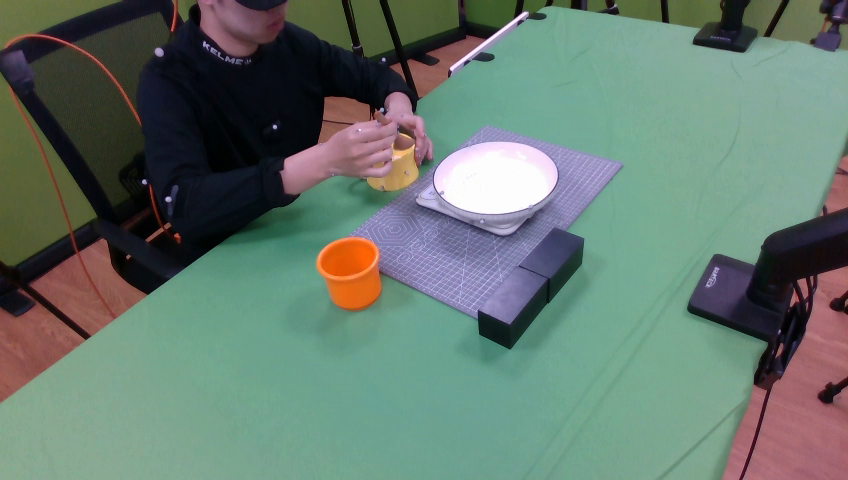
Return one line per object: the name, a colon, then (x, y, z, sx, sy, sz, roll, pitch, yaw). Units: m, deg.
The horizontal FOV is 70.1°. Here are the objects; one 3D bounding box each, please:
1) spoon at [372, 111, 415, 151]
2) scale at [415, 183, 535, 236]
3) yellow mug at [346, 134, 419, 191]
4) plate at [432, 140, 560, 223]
spoon: (-0.053, -0.175, 0.977, 0.041, 0.194, 0.021, -20, 77, 10)
scale: (0.099, -0.080, 1.036, 0.199, 0.032, 0.149, 23, 48, 31)
yellow mug: (-0.079, -0.142, 1.115, 0.131, 0.064, 0.099, -7, 39, 2)
plate: (0.118, -0.094, 0.999, 0.209, 0.038, 0.208, -4, 41, 4)
